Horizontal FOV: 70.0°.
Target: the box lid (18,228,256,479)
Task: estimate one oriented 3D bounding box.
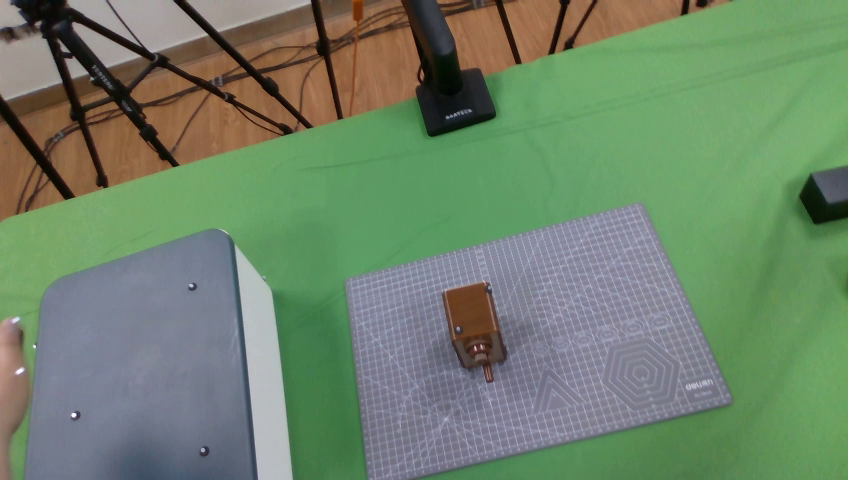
[{"bbox_3d":[-0.335,0.164,0.700,0.263,0.015,0.367,-18,59,1],"label":"box lid"}]

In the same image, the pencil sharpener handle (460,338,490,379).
[{"bbox_3d":[0.067,0.144,0.731,0.036,0.068,0.030,-17,58,9],"label":"pencil sharpener handle"}]

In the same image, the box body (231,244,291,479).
[{"bbox_3d":[-0.324,0.199,0.770,0.254,0.162,0.360,-18,58,1],"label":"box body"}]

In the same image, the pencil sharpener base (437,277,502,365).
[{"bbox_3d":[0.060,0.108,0.768,0.061,0.108,0.076,-14,59,4],"label":"pencil sharpener base"}]
